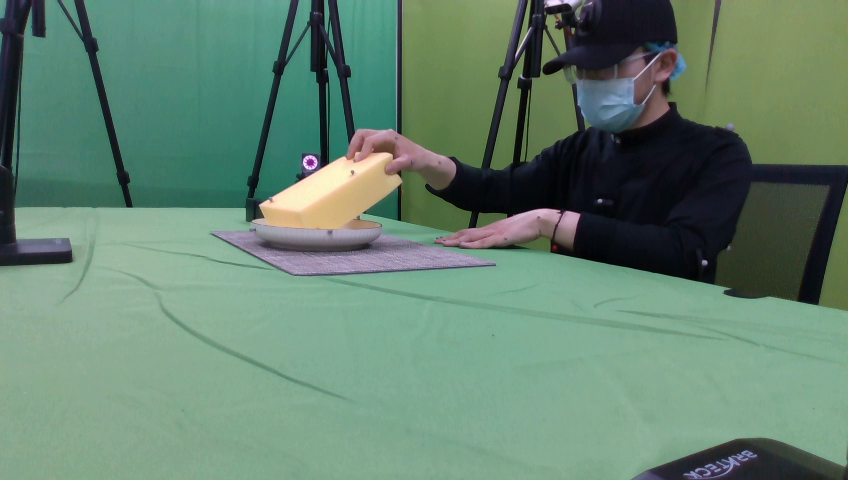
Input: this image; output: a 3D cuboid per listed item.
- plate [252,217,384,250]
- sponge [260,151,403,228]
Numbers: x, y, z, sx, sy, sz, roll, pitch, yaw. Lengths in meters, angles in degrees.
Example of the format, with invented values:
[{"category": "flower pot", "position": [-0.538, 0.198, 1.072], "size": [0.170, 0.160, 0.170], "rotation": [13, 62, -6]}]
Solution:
[{"category": "plate", "position": [-0.169, -0.012, 0.976], "size": [0.208, 0.039, 0.207], "rotation": [2, 7, 0]}, {"category": "sponge", "position": [-0.149, -0.076, 0.997], "size": [0.117, 0.061, 0.207], "rotation": [8, 36, 44]}]
